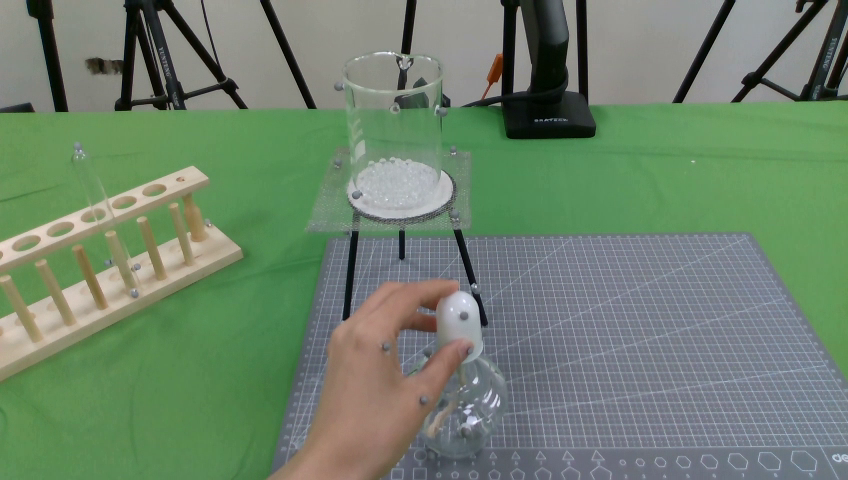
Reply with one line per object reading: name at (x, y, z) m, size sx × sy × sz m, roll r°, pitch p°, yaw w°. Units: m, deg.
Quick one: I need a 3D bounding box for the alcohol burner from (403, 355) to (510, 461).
alcohol burner at (0.023, 0.101, 0.427) m, size 0.078 × 0.120 × 0.077 m, roll -1°, pitch 40°, yaw 1°

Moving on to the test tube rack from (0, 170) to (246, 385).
test tube rack at (-0.298, 0.027, 0.563) m, size 0.242 × 0.086 × 0.066 m, roll -31°, pitch 46°, yaw -32°

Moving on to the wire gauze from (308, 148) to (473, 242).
wire gauze at (-0.021, -0.040, 0.485) m, size 0.121 × 0.011 × 0.124 m, roll 1°, pitch 40°, yaw 3°

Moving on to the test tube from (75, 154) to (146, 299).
test tube at (-0.275, -0.008, 0.534) m, size 0.017 × 0.151 × 0.017 m, roll -1°, pitch 37°, yaw 1°

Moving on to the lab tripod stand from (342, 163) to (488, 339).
lab tripod stand at (-0.011, 0.011, 0.527) m, size 0.148 × 0.132 × 0.147 m, roll 0°, pitch 37°, yaw 0°

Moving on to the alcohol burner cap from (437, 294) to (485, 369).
alcohol burner cap at (0.024, 0.056, 0.391) m, size 0.034 × 0.048 × 0.033 m, roll -1°, pitch 37°, yaw 1°

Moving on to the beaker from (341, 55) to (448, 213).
beaker at (-0.020, -0.079, 0.457) m, size 0.074 × 0.101 × 0.083 m, roll 7°, pitch 38°, yaw 8°
